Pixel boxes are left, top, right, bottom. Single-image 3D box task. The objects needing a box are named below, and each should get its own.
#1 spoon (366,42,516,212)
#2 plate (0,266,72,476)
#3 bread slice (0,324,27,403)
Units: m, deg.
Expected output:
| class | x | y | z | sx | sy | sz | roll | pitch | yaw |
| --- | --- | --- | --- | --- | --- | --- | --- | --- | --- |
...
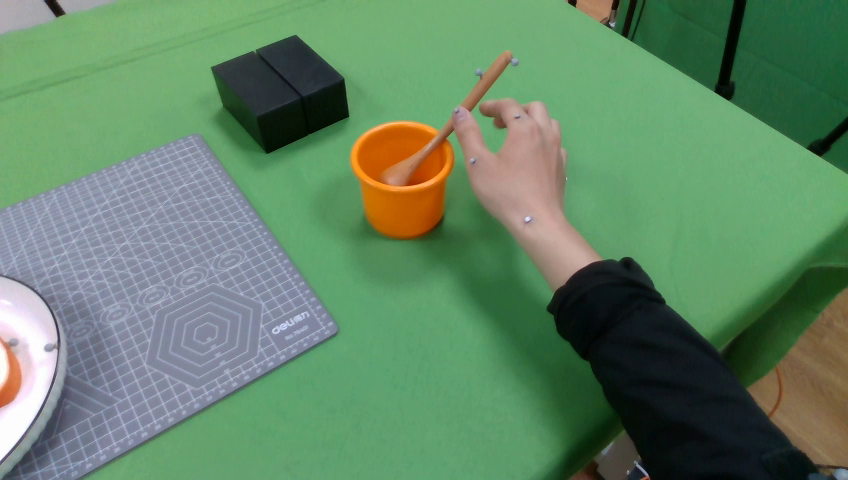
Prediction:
| class | x | y | z | sx | sy | sz | roll | pitch | yaw |
| --- | --- | --- | --- | --- | --- | --- | --- | --- | --- |
| spoon | 0.011 | -0.098 | 0.536 | 0.194 | 0.022 | 0.041 | -44 | 53 | 16 |
| plate | -0.362 | 0.110 | 0.437 | 0.209 | 0.038 | 0.207 | 1 | 52 | -1 |
| bread slice | -0.367 | 0.109 | 0.441 | 0.104 | 0.019 | 0.131 | 34 | 60 | 23 |
